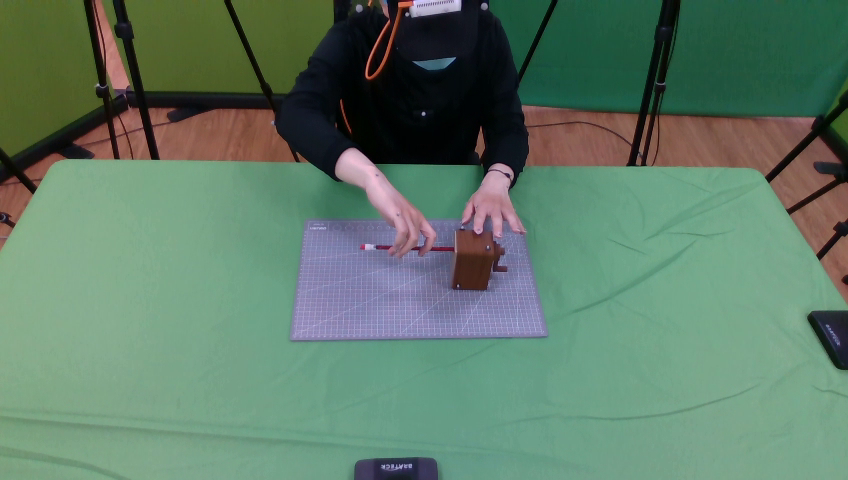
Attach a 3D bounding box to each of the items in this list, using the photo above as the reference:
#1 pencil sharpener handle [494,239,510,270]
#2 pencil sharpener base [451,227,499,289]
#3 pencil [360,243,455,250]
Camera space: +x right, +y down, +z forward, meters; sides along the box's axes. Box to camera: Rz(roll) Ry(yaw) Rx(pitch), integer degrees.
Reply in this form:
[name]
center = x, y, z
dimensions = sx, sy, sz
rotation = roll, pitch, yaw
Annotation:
[pencil sharpener handle]
center = 0.143, 0.029, 1.094
dimensions = 0.030, 0.068, 0.036
rotation = 3, 42, -1
[pencil sharpener base]
center = 0.091, 0.035, 1.103
dimensions = 0.077, 0.107, 0.061
rotation = 3, 46, -1
[pencil]
center = -0.017, 0.012, 1.079
dimensions = 0.194, 0.012, 0.012
rotation = 1, 47, -2
